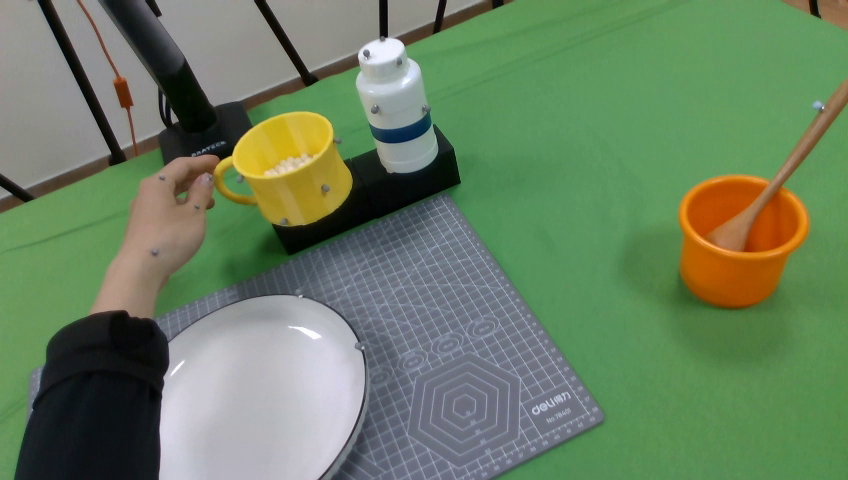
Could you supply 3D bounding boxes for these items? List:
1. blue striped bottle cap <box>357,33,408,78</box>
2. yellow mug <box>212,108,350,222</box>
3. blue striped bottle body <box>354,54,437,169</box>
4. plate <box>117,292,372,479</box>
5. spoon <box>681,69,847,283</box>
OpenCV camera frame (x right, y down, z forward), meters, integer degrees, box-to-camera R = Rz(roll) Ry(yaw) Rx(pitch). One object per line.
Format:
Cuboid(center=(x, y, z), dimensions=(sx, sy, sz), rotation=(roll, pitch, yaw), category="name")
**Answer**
Cuboid(center=(-0.038, -0.167, 0.548), dimensions=(0.044, 0.021, 0.044), rotation=(-9, 48, 10), category="blue striped bottle cap")
Cuboid(center=(-0.145, -0.071, 0.598), dimensions=(0.131, 0.064, 0.099), rotation=(-14, 46, 3), category="yellow mug")
Cuboid(center=(-0.029, -0.133, 0.585), dimensions=(0.063, 0.122, 0.062), rotation=(-8, 47, 9), category="blue striped bottle body")
Cuboid(center=(-0.140, 0.135, 0.494), dimensions=(0.207, 0.039, 0.205), rotation=(-7, 47, 8), category="plate")
Cuboid(center=(0.267, -0.047, 0.473), dimensions=(0.194, 0.022, 0.041), rotation=(-57, 44, 17), category="spoon")
